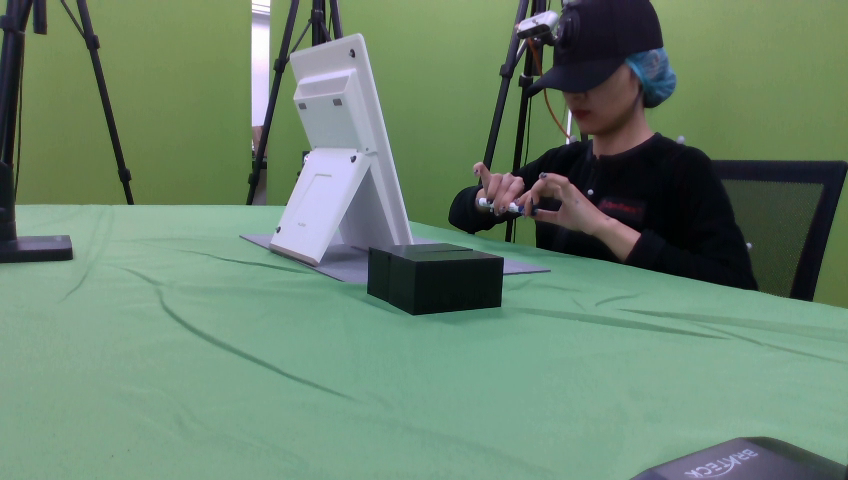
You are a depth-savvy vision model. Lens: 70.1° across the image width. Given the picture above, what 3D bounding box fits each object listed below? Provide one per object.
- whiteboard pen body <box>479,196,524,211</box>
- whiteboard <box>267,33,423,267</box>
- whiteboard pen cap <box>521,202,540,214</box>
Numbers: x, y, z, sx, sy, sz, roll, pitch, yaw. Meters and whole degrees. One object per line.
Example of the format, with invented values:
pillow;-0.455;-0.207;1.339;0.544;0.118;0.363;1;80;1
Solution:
whiteboard pen body;0.145;-0.063;1.066;0.017;0.017;0.140;-3;11;-34
whiteboard;-0.153;-0.098;0.819;0.144;0.305;0.216;-25;21;-29
whiteboard pen cap;0.179;-0.054;1.018;0.018;0.018;0.033;-2;11;-32
